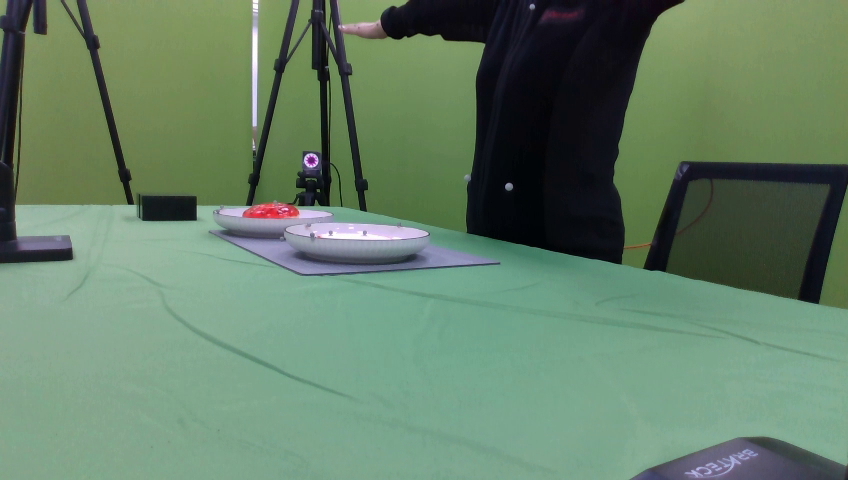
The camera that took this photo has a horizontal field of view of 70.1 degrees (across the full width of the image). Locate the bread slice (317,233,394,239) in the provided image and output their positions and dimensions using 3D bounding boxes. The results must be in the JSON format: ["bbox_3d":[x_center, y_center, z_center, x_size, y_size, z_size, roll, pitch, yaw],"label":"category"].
[{"bbox_3d":[-0.096,0.004,0.863,0.107,0.018,0.133,-1,7,-31],"label":"bread slice"}]

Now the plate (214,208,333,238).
[{"bbox_3d":[-0.268,-0.032,1.085,0.208,0.039,0.207,2,7,0],"label":"plate"}]

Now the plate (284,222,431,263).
[{"bbox_3d":[-0.094,0.003,0.868,0.209,0.038,0.209,2,7,0],"label":"plate"}]

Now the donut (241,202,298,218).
[{"bbox_3d":[-0.270,-0.040,1.057,0.099,0.048,0.099,0,11,0],"label":"donut"}]
